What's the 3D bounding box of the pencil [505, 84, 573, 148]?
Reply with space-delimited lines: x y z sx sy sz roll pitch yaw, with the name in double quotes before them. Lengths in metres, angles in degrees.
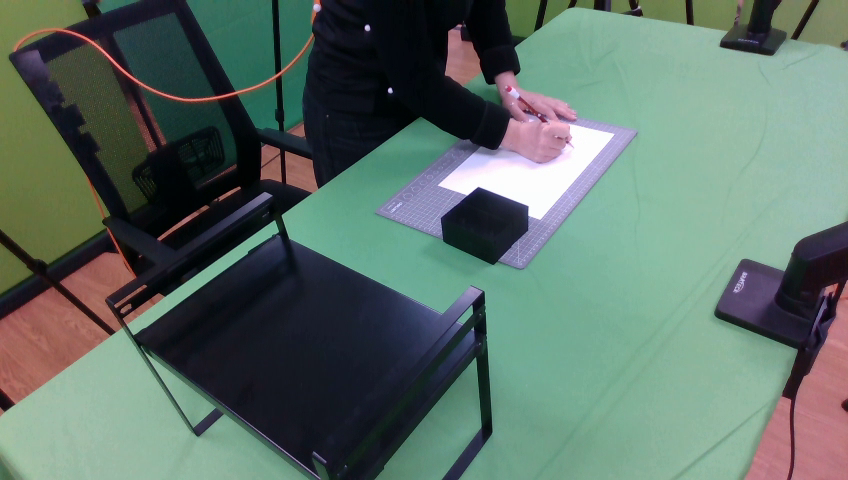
"pencil" 0.214 -0.221 1.099 0.012 0.196 0.012 -35 37 32
